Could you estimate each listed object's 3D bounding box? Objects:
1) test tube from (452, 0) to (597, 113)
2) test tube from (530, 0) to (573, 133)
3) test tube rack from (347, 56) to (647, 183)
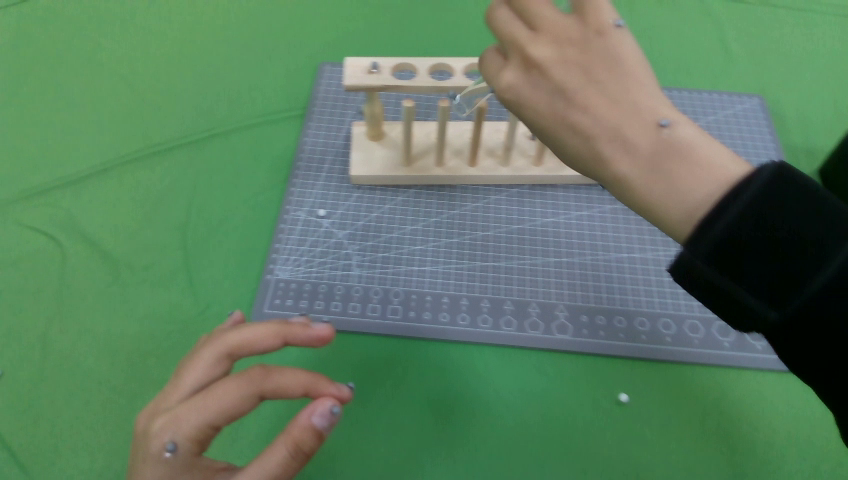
[{"bbox_3d":[0.068,-0.129,0.402,0.017,0.150,0.017,17,58,-30],"label":"test tube"},{"bbox_3d":[0.103,-0.146,0.489,0.017,0.151,0.017,0,51,0],"label":"test tube"},{"bbox_3d":[0.059,-0.101,0.518,0.242,0.086,0.066,0,56,-2],"label":"test tube rack"}]
